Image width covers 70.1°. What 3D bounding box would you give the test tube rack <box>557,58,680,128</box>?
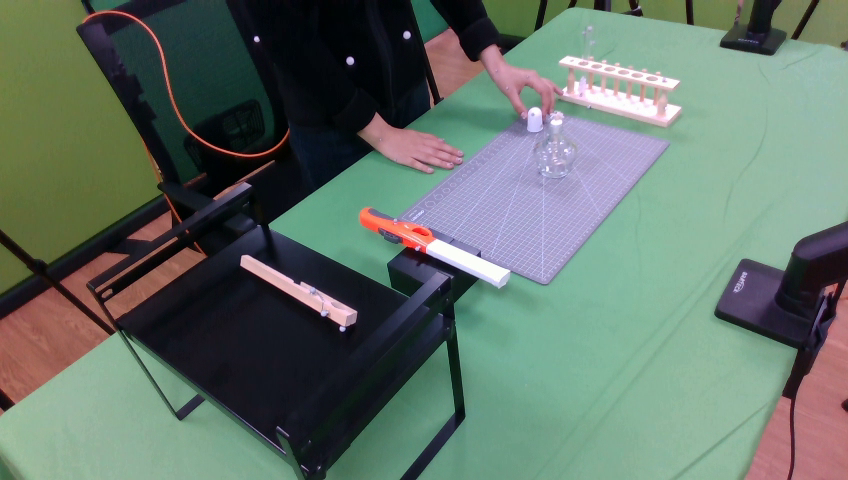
[{"bbox_3d":[0.395,-0.309,1.230,0.240,0.085,0.067,25,50,33],"label":"test tube rack"}]

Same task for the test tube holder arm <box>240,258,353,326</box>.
[{"bbox_3d":[-0.143,0.053,0.658,0.177,0.015,0.013,21,14,32],"label":"test tube holder arm"}]

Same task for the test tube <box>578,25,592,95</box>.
[{"bbox_3d":[0.326,-0.362,1.227,0.017,0.151,0.017,-3,44,4],"label":"test tube"}]

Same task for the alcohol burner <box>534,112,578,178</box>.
[{"bbox_3d":[0.232,-0.170,1.065,0.078,0.119,0.077,-5,39,5],"label":"alcohol burner"}]

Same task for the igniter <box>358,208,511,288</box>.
[{"bbox_3d":[0.005,0.005,0.892,0.274,0.025,0.057,24,38,31],"label":"igniter"}]

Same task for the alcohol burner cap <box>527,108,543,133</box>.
[{"bbox_3d":[0.221,-0.240,1.199,0.034,0.048,0.033,-5,47,6],"label":"alcohol burner cap"}]

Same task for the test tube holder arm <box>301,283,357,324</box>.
[{"bbox_3d":[-0.105,0.066,0.638,0.087,0.015,0.010,22,14,33],"label":"test tube holder arm"}]
